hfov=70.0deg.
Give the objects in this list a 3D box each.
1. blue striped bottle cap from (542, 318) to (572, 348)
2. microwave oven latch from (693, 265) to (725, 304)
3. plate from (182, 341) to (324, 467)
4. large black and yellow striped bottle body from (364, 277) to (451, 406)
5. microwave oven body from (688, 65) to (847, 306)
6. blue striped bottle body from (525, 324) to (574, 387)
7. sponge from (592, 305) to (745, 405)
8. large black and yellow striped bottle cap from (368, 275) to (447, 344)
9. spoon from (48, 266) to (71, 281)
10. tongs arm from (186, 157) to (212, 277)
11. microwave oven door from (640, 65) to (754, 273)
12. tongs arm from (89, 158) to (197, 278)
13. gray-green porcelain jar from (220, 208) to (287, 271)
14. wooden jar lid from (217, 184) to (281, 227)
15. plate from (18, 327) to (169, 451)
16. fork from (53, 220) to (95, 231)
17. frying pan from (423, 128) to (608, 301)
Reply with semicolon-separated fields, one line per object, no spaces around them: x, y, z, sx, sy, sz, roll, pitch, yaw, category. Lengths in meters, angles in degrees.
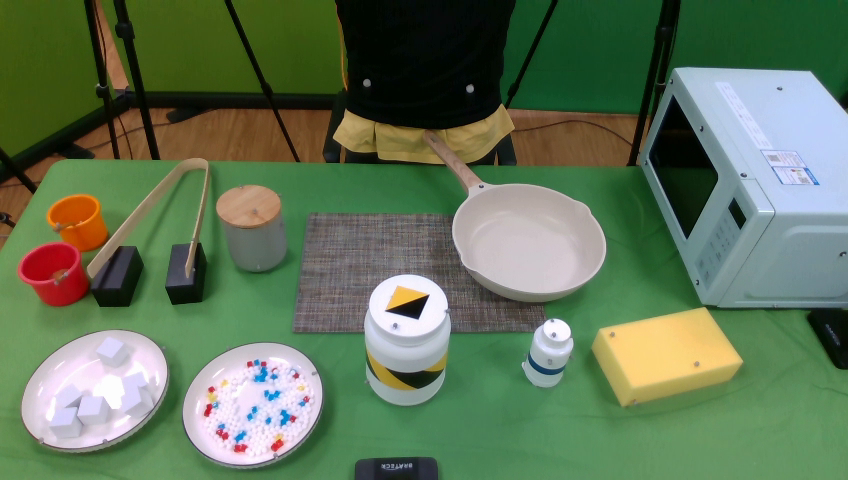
0.205;0.143;0.933;0.044;0.021;0.044;0;47;0;blue striped bottle cap
0.523;0.081;1.116;0.030;0.029;0.078;2;46;-1;microwave oven latch
-0.257;0.250;0.927;0.209;0.038;0.208;3;46;-2;plate
-0.026;0.155;0.933;0.131;0.185;0.130;2;47;-2;large black and yellow striped bottle body
0.669;-0.111;1.176;0.326;0.261;0.439;0;46;-3;microwave oven body
0.202;0.179;0.970;0.063;0.121;0.062;2;46;-2;blue striped bottle body
0.405;0.190;1.014;0.207;0.061;0.117;-10;48;-13;sponge
-0.024;0.098;0.871;0.115;0.019;0.114;2;45;-2;large black and yellow striped bottle cap
-0.609;0.057;1.010;0.041;0.022;0.193;-33;13;-27;spoon
-0.445;-0.058;1.168;0.051;0.026;0.382;-5;37;-6;tongs arm
0.523;-0.147;1.193;0.039;0.245;0.353;0;47;-3;microwave oven door
-0.530;-0.057;1.164;0.028;0.028;0.385;1;36;8;tongs arm
-0.309;-0.014;1.113;0.106;0.127;0.105;1;47;-1;gray-green porcelain jar
-0.307;-0.057;1.067;0.108;0.021;0.107;5;44;-4;wooden jar lid
-0.498;0.229;0.929;0.208;0.039;0.206;2;47;-2;plate
-0.627;-0.027;1.086;0.028;0.018;0.207;0;2;-15;fork
0.142;-0.069;1.208;0.307;0.103;0.485;-23;60;-25;frying pan
